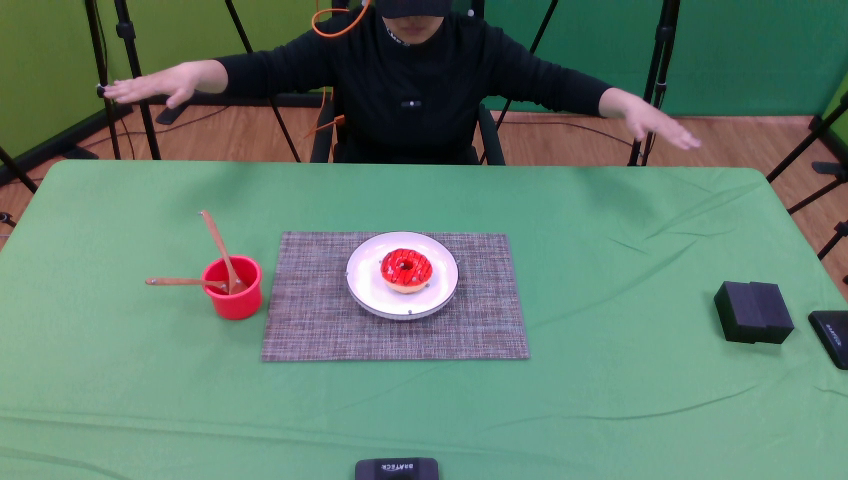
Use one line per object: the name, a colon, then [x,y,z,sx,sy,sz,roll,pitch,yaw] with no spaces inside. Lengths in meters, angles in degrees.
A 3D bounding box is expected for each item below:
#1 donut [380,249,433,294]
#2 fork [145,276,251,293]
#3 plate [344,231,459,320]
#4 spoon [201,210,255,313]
donut: [-0.032,0.056,1.111,0.099,0.048,0.098,4,43,-3]
fork: [-0.368,0.073,1.006,0.018,0.208,0.028,-24,72,23]
plate: [-0.042,0.068,1.115,0.209,0.038,0.208,2,46,-2]
spoon: [-0.343,0.037,1.052,0.041,0.021,0.194,-23,96,-32]
